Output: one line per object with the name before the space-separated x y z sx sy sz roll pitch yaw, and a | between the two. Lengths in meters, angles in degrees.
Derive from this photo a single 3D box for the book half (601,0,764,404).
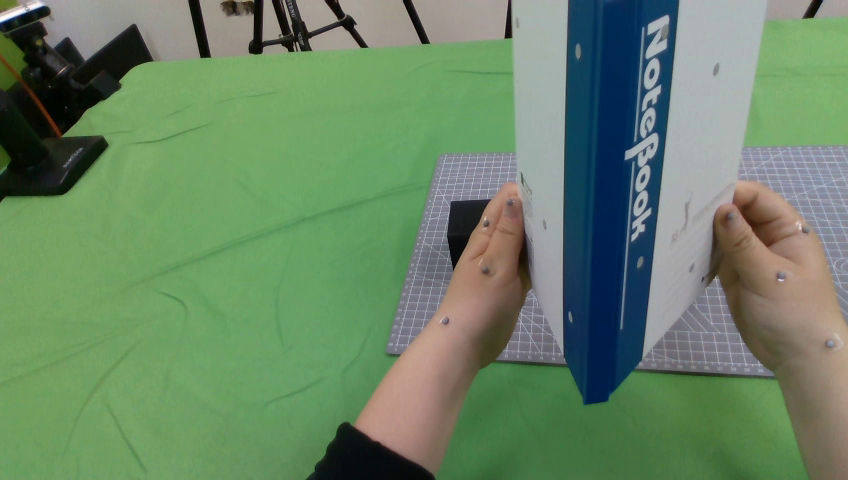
book half | 0.135 -0.029 0.317 0.007 0.212 0.143 22 42 40

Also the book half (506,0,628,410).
book half | 0.071 -0.032 0.335 0.016 0.212 0.147 -9 31 -2
